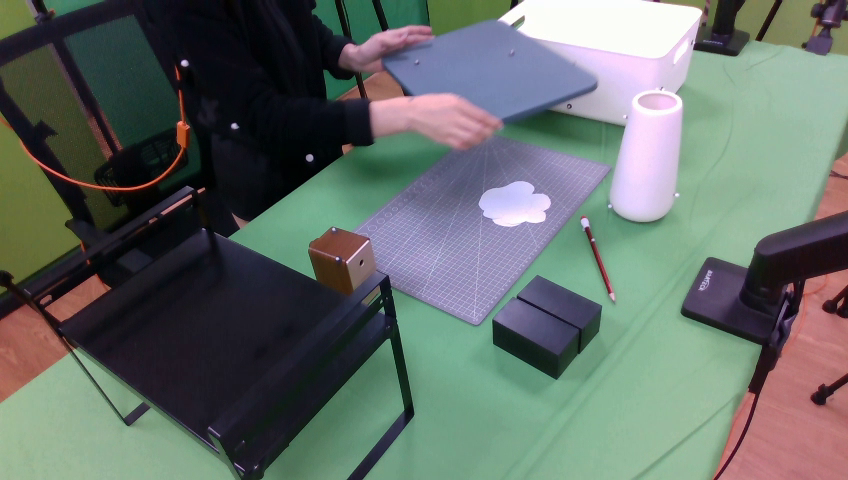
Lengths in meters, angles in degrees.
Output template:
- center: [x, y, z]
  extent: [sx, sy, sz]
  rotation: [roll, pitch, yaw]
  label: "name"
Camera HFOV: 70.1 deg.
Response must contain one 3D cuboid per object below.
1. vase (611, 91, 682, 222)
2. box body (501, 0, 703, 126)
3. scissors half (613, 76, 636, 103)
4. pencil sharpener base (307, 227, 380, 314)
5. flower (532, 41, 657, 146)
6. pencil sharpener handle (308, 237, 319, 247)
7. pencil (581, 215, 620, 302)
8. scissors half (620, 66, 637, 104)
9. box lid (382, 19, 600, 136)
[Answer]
- center: [0.348, -0.125, 0.935]
  extent: [0.098, 0.201, 0.097]
  rotation: [-3, 40, 3]
  label: "vase"
- center: [0.352, -0.385, 1.268]
  extent: [0.361, 0.161, 0.255]
  rotation: [21, 48, 29]
  label: "box body"
- center: [0.425, -0.330, 1.305]
  extent: [0.013, 0.040, 0.174]
  rotation: [38, 28, -14]
  label: "scissors half"
- center: [-0.116, 0.043, 0.875]
  extent: [0.076, 0.107, 0.061]
  rotation: [18, 47, 27]
  label: "pencil sharpener base"
- center: [0.370, -0.320, 1.323]
  extent: [0.038, 0.044, 0.359]
  rotation: [-17, 57, -48]
  label: "flower"
- center: [-0.159, 0.017, 0.892]
  extent: [0.030, 0.068, 0.036]
  rotation: [18, 61, 28]
  label: "pencil sharpener handle"
- center: [0.266, 0.025, 0.916]
  extent: [0.012, 0.012, 0.193]
  rotation: [-6, 41, 1]
  label: "pencil"
- center: [0.434, -0.340, 1.298]
  extent: [0.013, 0.040, 0.175]
  rotation: [31, 36, -12]
  label: "scissors half"
- center: [0.099, -0.294, 1.046]
  extent: [0.264, 0.015, 0.368]
  rotation: [-22, 40, -11]
  label: "box lid"
